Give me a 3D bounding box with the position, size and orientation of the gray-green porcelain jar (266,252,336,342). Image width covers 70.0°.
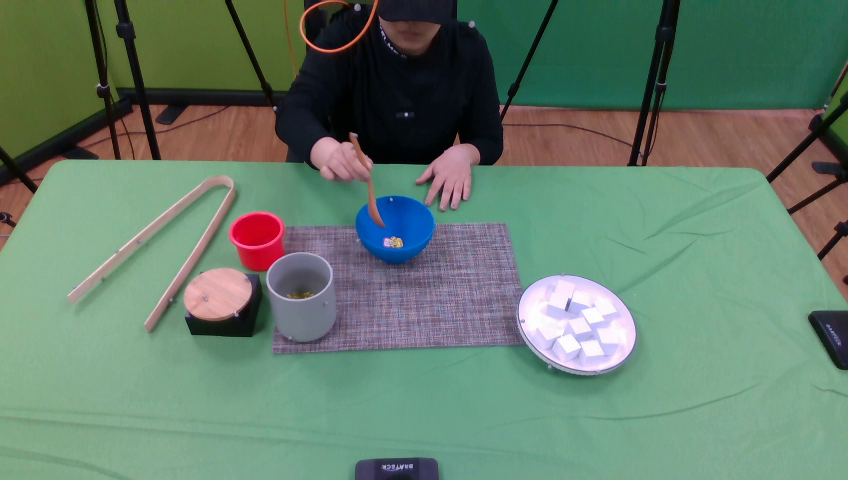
[{"bbox_3d":[-0.202,0.100,1.009,0.106,0.127,0.105,2,46,-2],"label":"gray-green porcelain jar"}]

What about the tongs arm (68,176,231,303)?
[{"bbox_3d":[-0.510,-0.010,1.162,0.050,0.026,0.383,20,47,14],"label":"tongs arm"}]

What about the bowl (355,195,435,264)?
[{"bbox_3d":[-0.056,-0.008,1.158,0.151,0.077,0.150,2,46,-2],"label":"bowl"}]

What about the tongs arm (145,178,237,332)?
[{"bbox_3d":[-0.432,0.014,1.149,0.028,0.028,0.385,8,46,7],"label":"tongs arm"}]

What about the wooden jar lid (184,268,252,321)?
[{"bbox_3d":[-0.343,0.093,1.015,0.108,0.021,0.107,3,46,-3],"label":"wooden jar lid"}]

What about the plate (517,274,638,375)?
[{"bbox_3d":[0.264,0.149,1.060,0.209,0.038,0.208,3,46,-3],"label":"plate"}]

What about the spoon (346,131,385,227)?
[{"bbox_3d":[-0.102,-0.103,1.062,0.021,0.194,0.041,-24,31,-19],"label":"spoon"}]
